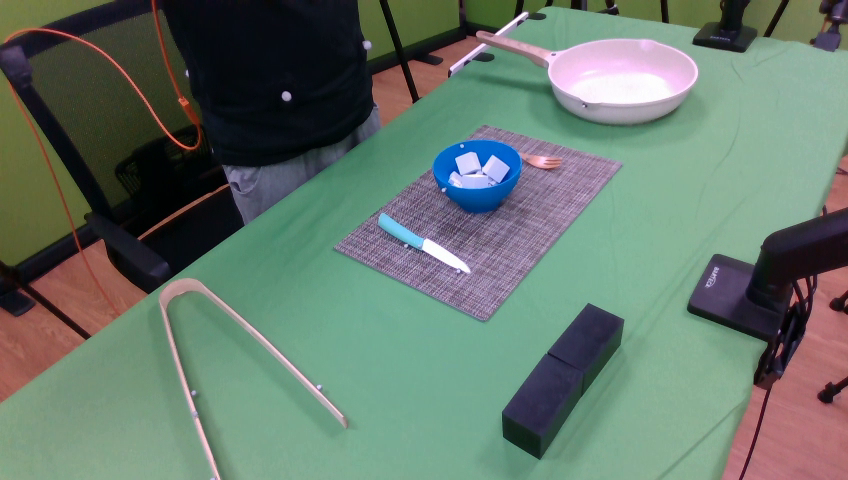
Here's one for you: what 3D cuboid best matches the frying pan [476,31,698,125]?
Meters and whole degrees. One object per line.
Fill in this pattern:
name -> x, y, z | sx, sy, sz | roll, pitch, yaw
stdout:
frying pan -> 0.321, -0.371, 1.290 | 0.484, 0.103, 0.307 | 29, 51, 23

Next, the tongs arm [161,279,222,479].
tongs arm -> -0.297, 0.174, 0.797 | 0.051, 0.026, 0.381 | -25, 43, -21

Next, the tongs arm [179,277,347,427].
tongs arm -> -0.231, 0.141, 0.832 | 0.384, 0.028, 0.028 | 30, 55, 35

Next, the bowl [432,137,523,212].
bowl -> 0.091, -0.100, 1.022 | 0.151, 0.077, 0.150 | -4, 41, 4

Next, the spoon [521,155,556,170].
spoon -> 0.156, -0.161, 1.126 | 0.192, 0.022, 0.042 | 25, 35, 29

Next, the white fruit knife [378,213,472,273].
white fruit knife -> -0.004, 0.005, 0.961 | 0.205, 0.016, 0.027 | 29, 62, 34
